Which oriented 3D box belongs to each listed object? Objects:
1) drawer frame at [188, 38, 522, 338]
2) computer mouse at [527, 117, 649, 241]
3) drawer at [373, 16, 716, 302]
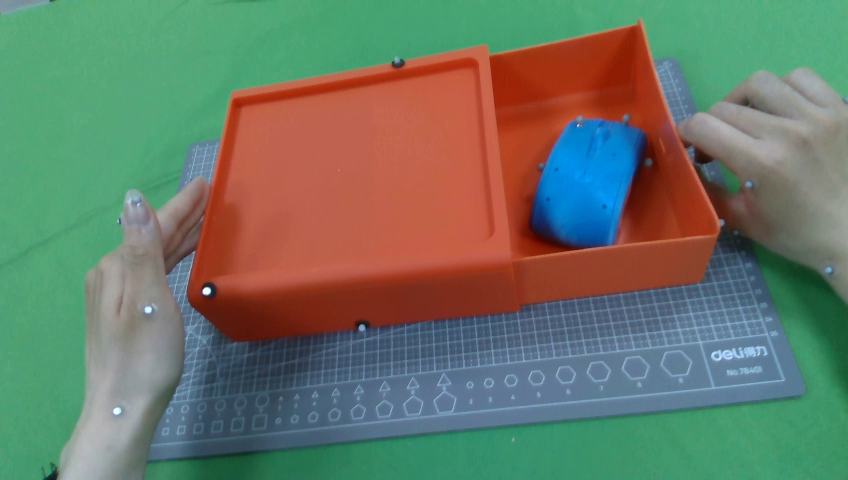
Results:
[{"bbox_3d":[-0.042,-0.039,0.451,0.213,0.083,0.199,-8,57,9],"label":"drawer frame"},{"bbox_3d":[0.118,-0.050,0.434,0.062,0.041,0.116,10,53,28],"label":"computer mouse"},{"bbox_3d":[0.071,-0.054,0.436,0.211,0.074,0.192,-8,57,9],"label":"drawer"}]
